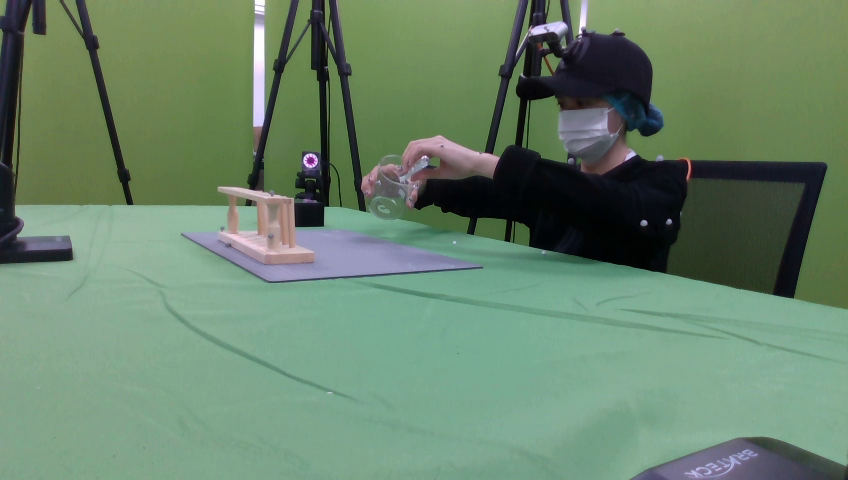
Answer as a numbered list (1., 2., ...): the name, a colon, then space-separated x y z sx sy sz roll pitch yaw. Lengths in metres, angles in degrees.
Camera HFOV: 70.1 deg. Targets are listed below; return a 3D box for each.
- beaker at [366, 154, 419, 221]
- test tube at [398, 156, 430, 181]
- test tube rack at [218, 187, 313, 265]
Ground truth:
1. beaker: -0.057 -0.087 1.066 0.084 0.100 0.074 40 47 13
2. test tube: -0.017 -0.113 0.961 0.017 0.017 0.150 1 -4 -15
3. test tube rack: -0.235 -0.027 0.872 0.067 0.085 0.241 -2 8 -32
